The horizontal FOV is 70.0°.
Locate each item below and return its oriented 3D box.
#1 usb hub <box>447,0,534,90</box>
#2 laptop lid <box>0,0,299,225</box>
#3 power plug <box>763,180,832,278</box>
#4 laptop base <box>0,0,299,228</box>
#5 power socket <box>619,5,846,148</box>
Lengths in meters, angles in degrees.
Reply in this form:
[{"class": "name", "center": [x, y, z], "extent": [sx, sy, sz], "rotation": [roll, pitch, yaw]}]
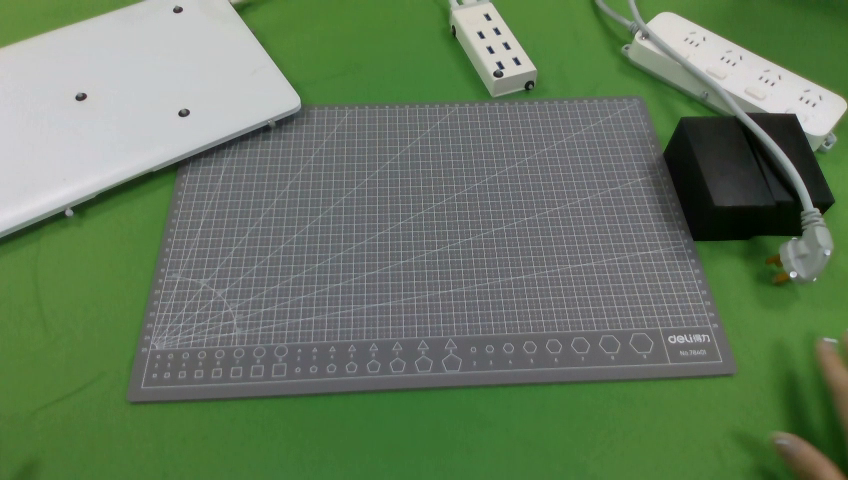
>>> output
[{"class": "usb hub", "center": [0.067, -0.213, 0.640], "extent": [0.049, 0.025, 0.124], "rotation": [-17, 59, -11]}, {"class": "laptop lid", "center": [-0.326, -0.141, 0.576], "extent": [0.357, 0.013, 0.239], "rotation": [-27, 63, -17]}, {"class": "power plug", "center": [0.301, -0.004, 0.492], "extent": [0.035, 0.052, 0.072], "rotation": [22, 59, -20]}, {"class": "laptop base", "center": [-0.327, -0.136, 0.587], "extent": [0.354, 0.023, 0.233], "rotation": [-28, 65, -18]}, {"class": "power socket", "center": [0.309, -0.169, 0.612], "extent": [0.225, 0.033, 0.072], "rotation": [38, 64, 22]}]
